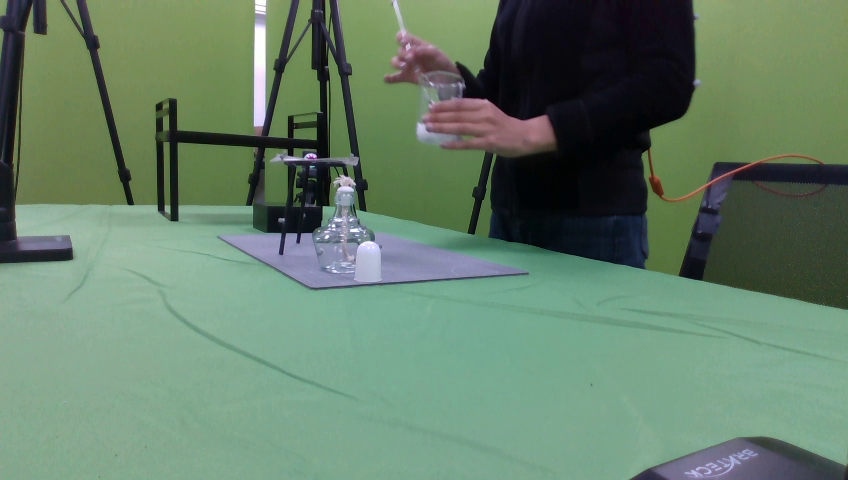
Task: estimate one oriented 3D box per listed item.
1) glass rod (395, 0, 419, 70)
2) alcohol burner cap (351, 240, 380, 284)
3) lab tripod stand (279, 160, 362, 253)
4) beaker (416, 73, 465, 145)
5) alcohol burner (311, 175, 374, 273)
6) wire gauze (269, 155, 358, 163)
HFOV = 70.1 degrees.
[{"bbox_3d":[-0.035,-0.373,1.033,0.008,0.199,0.008,-14,-19,-5],"label":"glass rod"},{"bbox_3d":[-0.066,0.023,0.690,0.034,0.048,0.034,4,11,0],"label":"alcohol burner cap"},{"bbox_3d":[-0.166,-0.052,0.897,0.148,0.131,0.148,0,7,0],"label":"lab tripod stand"},{"bbox_3d":[0.023,-0.204,0.949,0.073,0.100,0.084,2,0,33],"label":"beaker"},{"bbox_3d":[-0.100,-0.020,0.740,0.078,0.119,0.078,1,6,0],"label":"alcohol burner"},{"bbox_3d":[-0.159,-0.118,0.886,0.122,0.011,0.125,1,7,-9],"label":"wire gauze"}]
